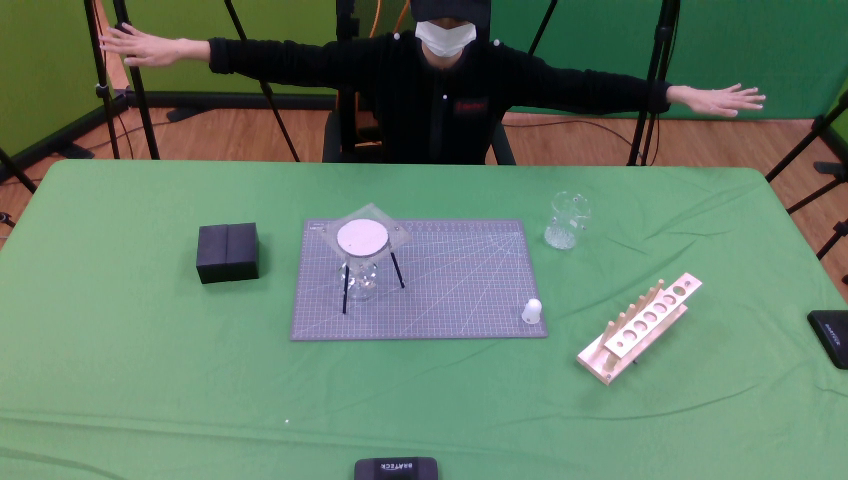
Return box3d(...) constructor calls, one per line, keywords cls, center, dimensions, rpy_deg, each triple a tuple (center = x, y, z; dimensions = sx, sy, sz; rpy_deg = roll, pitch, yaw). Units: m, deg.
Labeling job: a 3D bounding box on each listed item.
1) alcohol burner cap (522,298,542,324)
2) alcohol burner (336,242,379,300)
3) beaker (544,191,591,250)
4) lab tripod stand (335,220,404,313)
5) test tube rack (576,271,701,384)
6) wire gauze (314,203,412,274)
box3d(cls="alcohol burner cap", center=(0.193, 0.124, 1.074), dimensions=(0.034, 0.048, 0.033), rpy_deg=(2, 46, -1))
box3d(cls="alcohol burner", center=(-0.118, 0.050, 1.072), dimensions=(0.078, 0.120, 0.077), rpy_deg=(2, 44, -1))
box3d(cls="beaker", center=(0.282, -0.035, 1.199), dimensions=(0.083, 0.101, 0.074), rpy_deg=(31, 52, 23))
box3d(cls="lab tripod stand", center=(-0.110, 0.039, 1.070), dimensions=(0.148, 0.132, 0.147), rpy_deg=(1, 46, -1))
box3d(cls="test tube rack", center=(0.373, 0.138, 1.047), dimensions=(0.242, 0.085, 0.066), rpy_deg=(-31, 56, -29))
box3d(cls="wire gauze", center=(-0.103, -0.009, 1.023), dimensions=(0.121, 0.011, 0.124), rpy_deg=(-29, 53, -27))
